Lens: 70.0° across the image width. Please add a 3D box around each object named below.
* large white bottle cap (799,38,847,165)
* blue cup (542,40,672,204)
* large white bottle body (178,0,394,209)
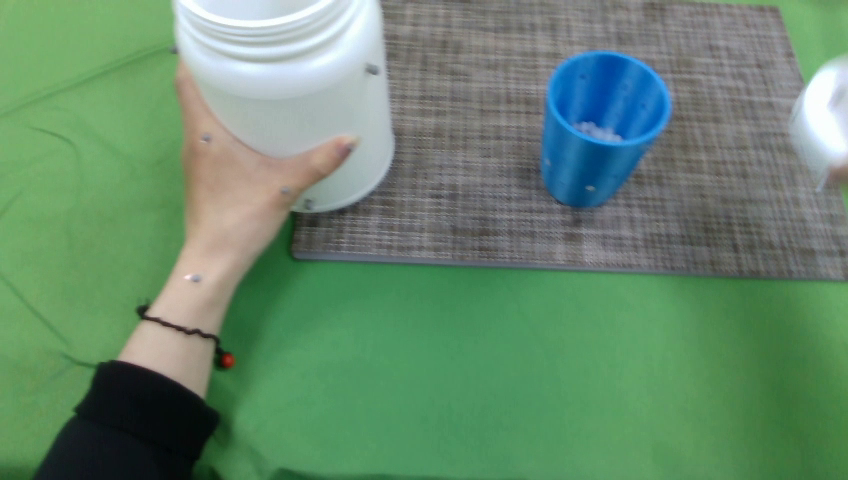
[{"bbox_3d":[0.312,-0.089,0.401,0.115,0.018,0.114,-1,63,2],"label":"large white bottle cap"},{"bbox_3d":[0.129,-0.078,0.462,0.092,0.101,0.092,0,61,0],"label":"blue cup"},{"bbox_3d":[-0.090,-0.120,0.430,0.130,0.186,0.129,0,62,0],"label":"large white bottle body"}]
